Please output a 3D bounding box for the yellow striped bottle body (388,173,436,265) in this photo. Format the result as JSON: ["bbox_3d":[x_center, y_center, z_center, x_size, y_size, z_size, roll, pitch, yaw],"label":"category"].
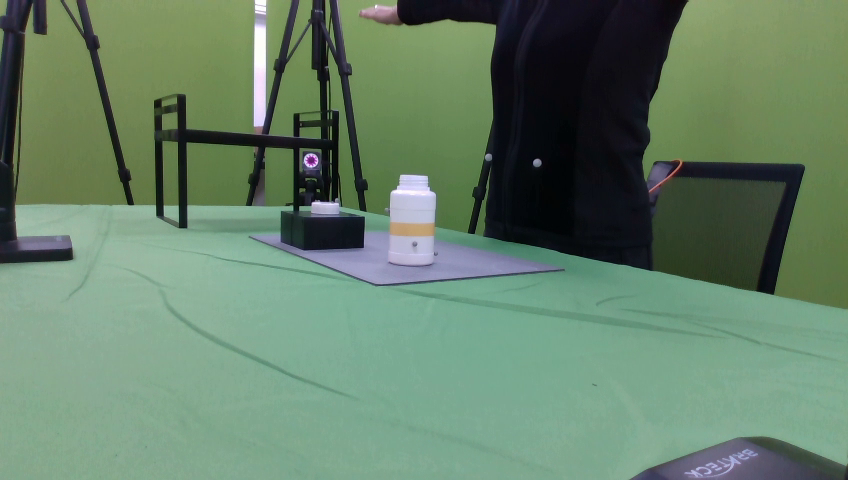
[{"bbox_3d":[-0.016,-0.030,0.813,0.063,0.120,0.063,2,7,0],"label":"yellow striped bottle body"}]

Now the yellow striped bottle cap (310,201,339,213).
[{"bbox_3d":[-0.157,-0.052,0.956,0.044,0.018,0.044,4,5,0],"label":"yellow striped bottle cap"}]
